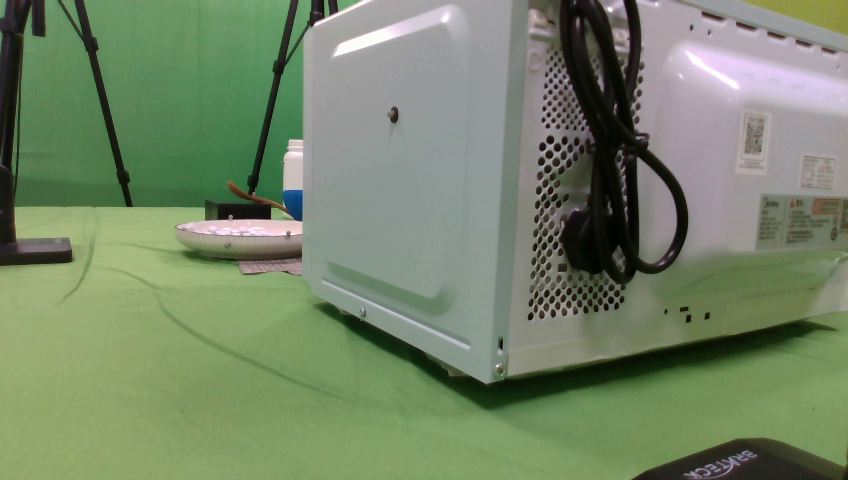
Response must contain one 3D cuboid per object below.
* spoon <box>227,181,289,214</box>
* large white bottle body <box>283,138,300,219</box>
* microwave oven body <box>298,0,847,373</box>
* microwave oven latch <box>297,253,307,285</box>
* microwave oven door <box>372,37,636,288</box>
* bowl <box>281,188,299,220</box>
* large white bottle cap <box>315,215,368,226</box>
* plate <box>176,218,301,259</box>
[{"bbox_3d":[-0.315,-0.074,1.235,0.195,0.021,0.041,24,-10,-37],"label":"spoon"},{"bbox_3d":[-0.265,-0.144,1.424,0.131,0.184,0.130,2,7,0],"label":"large white bottle body"},{"bbox_3d":[0.151,-0.055,0.542,0.444,0.260,0.324,-1,7,-33],"label":"microwave oven body"},{"bbox_3d":[-0.082,0.027,0.582,0.079,0.029,0.030,-1,7,-33],"label":"microwave oven latch"},{"bbox_3d":[0.110,-0.080,0.686,0.358,0.243,0.039,-2,9,-33],"label":"microwave oven door"},{"bbox_3d":[-0.191,-0.053,1.129,0.151,0.077,0.151,3,8,0],"label":"bowl"},{"bbox_3d":[-0.178,-0.041,1.309,0.115,0.018,0.115,2,6,0],"label":"large white bottle cap"},{"bbox_3d":[-0.248,-0.003,0.877,0.209,0.038,0.209,1,8,0],"label":"plate"}]
